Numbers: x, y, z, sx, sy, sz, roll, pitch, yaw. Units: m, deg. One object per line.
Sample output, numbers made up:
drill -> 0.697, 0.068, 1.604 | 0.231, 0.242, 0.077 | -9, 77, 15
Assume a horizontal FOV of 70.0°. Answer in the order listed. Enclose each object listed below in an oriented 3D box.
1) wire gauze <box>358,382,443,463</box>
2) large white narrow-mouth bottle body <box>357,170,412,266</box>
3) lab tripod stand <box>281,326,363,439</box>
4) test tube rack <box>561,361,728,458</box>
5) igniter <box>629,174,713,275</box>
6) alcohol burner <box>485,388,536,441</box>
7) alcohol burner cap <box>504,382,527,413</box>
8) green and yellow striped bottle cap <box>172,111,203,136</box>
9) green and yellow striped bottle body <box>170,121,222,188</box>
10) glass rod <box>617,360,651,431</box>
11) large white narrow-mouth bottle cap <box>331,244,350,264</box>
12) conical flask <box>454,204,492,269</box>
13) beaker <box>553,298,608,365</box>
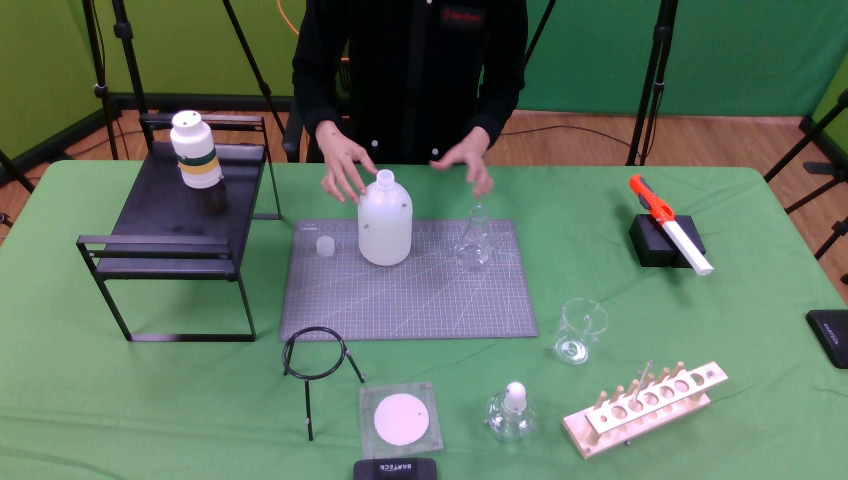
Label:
wire gauze -> -0.039, 0.277, 0.937 | 0.121, 0.011, 0.124 | -4, 47, -7
large white narrow-mouth bottle body -> -0.073, -0.047, 1.115 | 0.102, 0.195, 0.101 | 3, 47, -3
lab tripod stand -> -0.166, 0.202, 0.913 | 0.148, 0.132, 0.147 | 1, 47, -1
test tube rack -> 0.341, 0.248, 0.940 | 0.243, 0.085, 0.066 | -15, 49, -18
igniter -> 0.481, -0.040, 1.202 | 0.057, 0.025, 0.274 | -1, 46, -21
alcohol burner -> 0.131, 0.249, 0.904 | 0.078, 0.120, 0.077 | 1, 48, -1
alcohol burner cap -> 0.133, 0.225, 0.877 | 0.034, 0.048, 0.033 | -4, 47, 5
green and yellow striped bottle cap -> -0.374, -0.185, 0.957 | 0.045, 0.020, 0.045 | 3, 45, -3
green and yellow striped bottle body -> -0.375, -0.149, 0.995 | 0.063, 0.120, 0.063 | 2, 46, -2
glass rod -> 0.297, 0.227, 0.865 | 0.008, 0.201, 0.008 | -1, 48, 2
large white narrow-mouth bottle cap -> -0.160, 0.026, 1.162 | 0.038, 0.024, 0.037 | 4, 46, -4
conical flask -> 0.097, -0.009, 1.140 | 0.075, 0.122, 0.075 | 2, 46, -2
beaker -> 0.260, 0.154, 1.015 | 0.073, 0.101, 0.084 | 37, 54, 27
